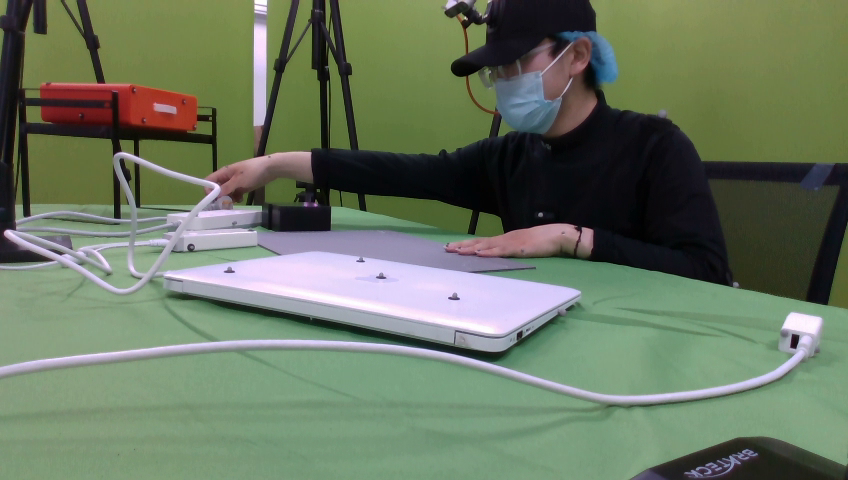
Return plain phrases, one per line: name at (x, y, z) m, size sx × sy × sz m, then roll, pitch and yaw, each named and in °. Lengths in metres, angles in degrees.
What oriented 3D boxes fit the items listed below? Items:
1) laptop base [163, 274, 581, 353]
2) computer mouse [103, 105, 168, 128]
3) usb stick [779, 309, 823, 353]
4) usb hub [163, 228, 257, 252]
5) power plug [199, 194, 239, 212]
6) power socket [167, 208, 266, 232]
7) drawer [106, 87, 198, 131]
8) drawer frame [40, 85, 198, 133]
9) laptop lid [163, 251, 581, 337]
laptop base at (-0.046, 0.053, 0.598) m, size 0.353 × 0.023 × 0.236 m, roll 6°, pitch 6°, yaw 28°
computer mouse at (-0.582, -0.249, 1.223) m, size 0.118 × 0.041 × 0.062 m, roll 2°, pitch 3°, yaw -39°
usb stick at (0.311, 0.072, 0.496) m, size 0.027 × 0.021 × 0.059 m, roll 7°, pitch 15°, yaw 34°
usb hub at (-0.314, -0.001, 0.895) m, size 0.049 × 0.025 × 0.126 m, roll 10°, pitch 11°, yaw 41°
power plug at (-0.403, -0.061, 1.194) m, size 0.052 × 0.035 × 0.072 m, roll 8°, pitch 49°, yaw 24°
power socket at (-0.380, -0.038, 1.129) m, size 0.072 × 0.032 × 0.227 m, roll 5°, pitch 8°, yaw 19°
drawer at (-0.609, -0.264, 1.235) m, size 0.211 × 0.073 × 0.195 m, roll 4°, pitch 8°, yaw 16°
drawer frame at (-0.612, -0.266, 1.235) m, size 0.213 × 0.082 × 0.202 m, roll 4°, pitch 8°, yaw 15°
laptop lid at (-0.045, 0.040, 0.599) m, size 0.355 × 0.013 × 0.243 m, roll 7°, pitch 7°, yaw 30°
